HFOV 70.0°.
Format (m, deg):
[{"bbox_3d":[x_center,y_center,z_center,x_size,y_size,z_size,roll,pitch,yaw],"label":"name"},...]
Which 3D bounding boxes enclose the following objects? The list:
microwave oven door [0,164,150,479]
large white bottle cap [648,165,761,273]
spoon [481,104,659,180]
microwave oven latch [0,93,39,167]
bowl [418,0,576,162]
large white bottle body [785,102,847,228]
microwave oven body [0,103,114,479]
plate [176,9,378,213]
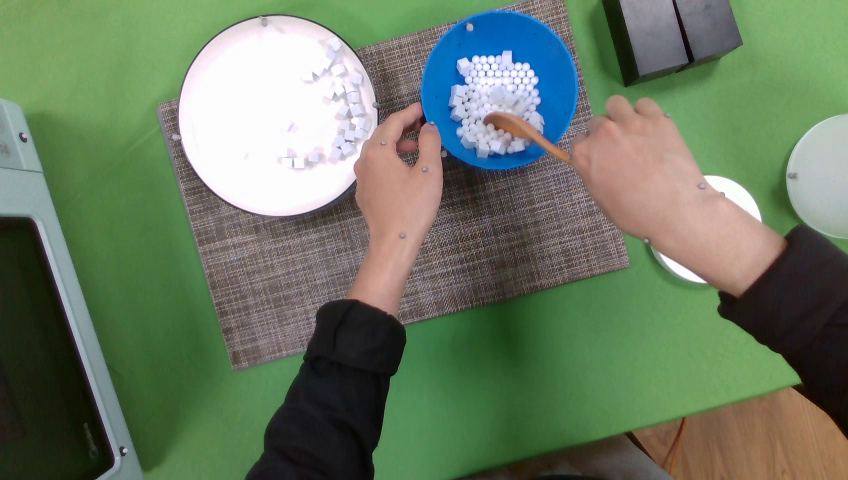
[{"bbox_3d":[-0.372,0.101,0.540,0.039,0.243,0.356,-18,92,3],"label":"microwave oven door"},{"bbox_3d":[0.299,-0.022,0.646,0.115,0.018,0.115,0,93,0],"label":"large white bottle cap"},{"bbox_3d":[0.125,-0.088,0.548,0.191,0.042,0.021,36,90,39],"label":"spoon"},{"bbox_3d":[-0.433,-0.112,0.631,0.030,0.029,0.079,-17,93,2],"label":"microwave oven latch"},{"bbox_3d":[0.071,-0.150,0.610,0.151,0.077,0.151,0,93,2],"label":"bowl"},{"bbox_3d":[0.443,-0.075,0.556,0.130,0.184,0.130,0,92,2],"label":"large white bottle body"},{"bbox_3d":[-0.525,0.105,0.549,0.326,0.260,0.442,-18,93,2],"label":"microwave oven body"},{"bbox_3d":[-0.151,-0.132,0.637,0.209,0.038,0.209,0,93,1],"label":"plate"}]
